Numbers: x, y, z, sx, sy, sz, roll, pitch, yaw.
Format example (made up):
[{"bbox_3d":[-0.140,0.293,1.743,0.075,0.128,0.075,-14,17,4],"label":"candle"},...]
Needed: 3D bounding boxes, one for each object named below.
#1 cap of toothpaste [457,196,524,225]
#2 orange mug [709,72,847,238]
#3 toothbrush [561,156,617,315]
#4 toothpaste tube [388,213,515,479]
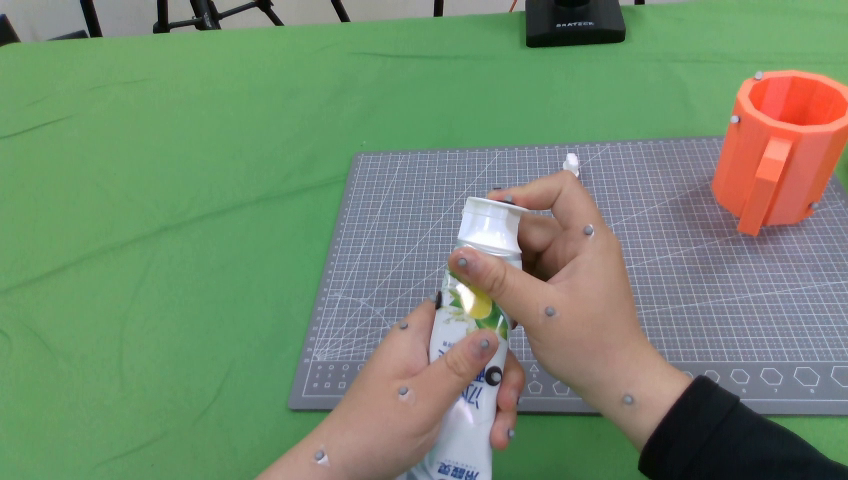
[{"bbox_3d":[0.035,-0.015,0.324,0.037,0.037,0.011,15,91,22],"label":"cap of toothpaste"},{"bbox_3d":[0.282,-0.063,0.488,0.083,0.102,0.126,21,48,27],"label":"orange mug"},{"bbox_3d":[0.140,-0.011,0.517,0.014,0.017,0.180,3,47,-5],"label":"toothbrush"},{"bbox_3d":[0.019,0.061,0.323,0.055,0.035,0.165,9,87,21],"label":"toothpaste tube"}]
